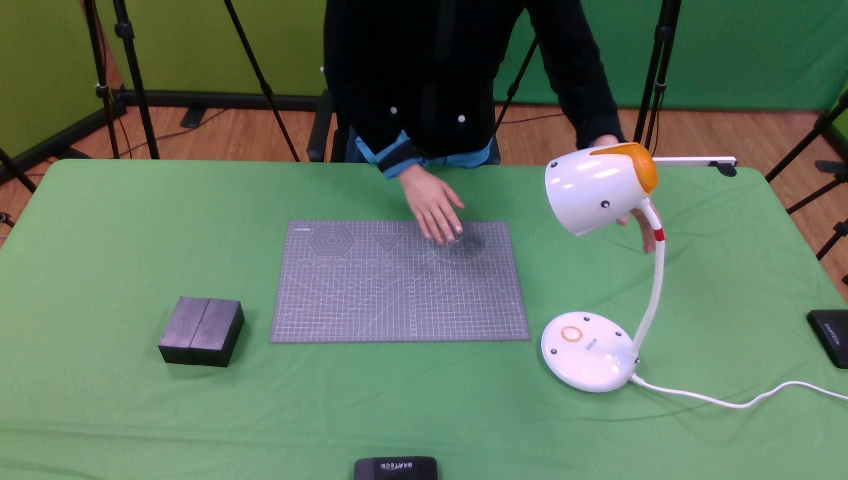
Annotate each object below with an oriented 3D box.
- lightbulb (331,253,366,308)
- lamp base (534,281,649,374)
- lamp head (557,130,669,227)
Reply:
[{"bbox_3d":[-0.131,0.074,1.094,0.059,0.060,0.107,-15,65,-18],"label":"lightbulb"},{"bbox_3d":[0.287,0.113,1.000,0.179,0.181,0.160,13,47,5],"label":"lamp base"},{"bbox_3d":[0.251,-0.085,0.784,0.123,0.113,0.112,-20,38,29],"label":"lamp head"}]
